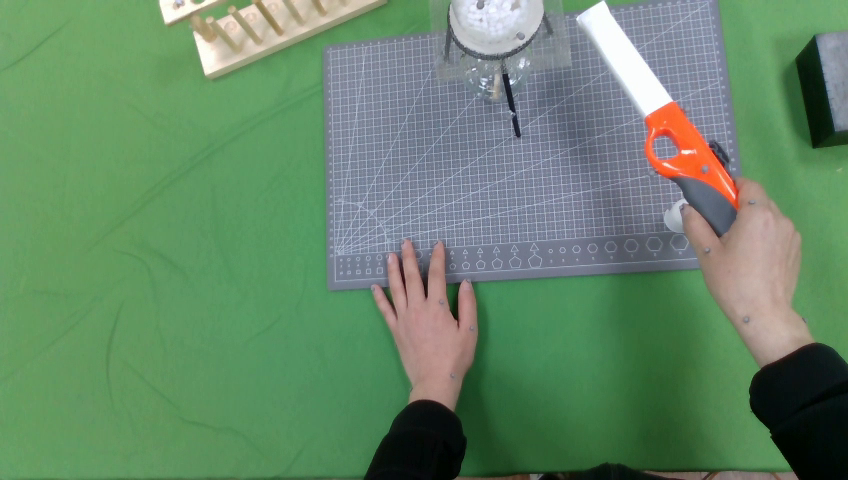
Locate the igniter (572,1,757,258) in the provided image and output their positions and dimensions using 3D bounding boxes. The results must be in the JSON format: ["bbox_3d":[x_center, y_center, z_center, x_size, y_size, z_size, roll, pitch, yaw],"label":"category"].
[{"bbox_3d":[0.215,-0.108,0.552,0.057,0.025,0.274,-30,70,12],"label":"igniter"}]

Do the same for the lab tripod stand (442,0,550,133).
[{"bbox_3d":[0.078,-0.199,0.625,0.148,0.132,0.148,-1,81,9],"label":"lab tripod stand"}]

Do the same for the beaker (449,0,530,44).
[{"bbox_3d":[0.052,-0.220,0.516,0.084,0.101,0.074,9,83,13],"label":"beaker"}]

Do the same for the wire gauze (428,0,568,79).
[{"bbox_3d":[0.066,-0.211,0.561,0.125,0.011,0.121,-4,84,8],"label":"wire gauze"}]

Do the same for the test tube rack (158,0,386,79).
[{"bbox_3d":[-0.176,-0.282,0.715,0.242,0.085,0.066,-21,77,7],"label":"test tube rack"}]

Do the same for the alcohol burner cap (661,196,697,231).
[{"bbox_3d":[0.260,-0.030,0.610,0.034,0.048,0.033,-2,80,10],"label":"alcohol burner cap"}]

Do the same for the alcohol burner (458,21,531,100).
[{"bbox_3d":[0.073,-0.194,0.635,0.078,0.120,0.077,-2,80,9],"label":"alcohol burner"}]
